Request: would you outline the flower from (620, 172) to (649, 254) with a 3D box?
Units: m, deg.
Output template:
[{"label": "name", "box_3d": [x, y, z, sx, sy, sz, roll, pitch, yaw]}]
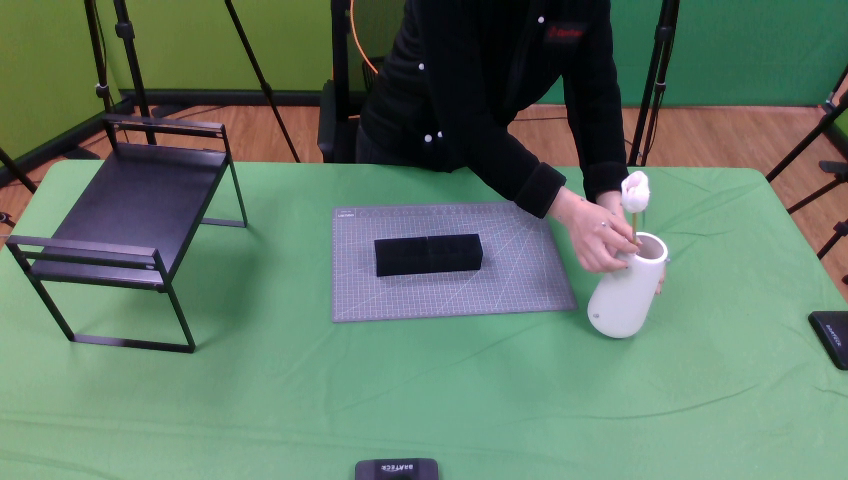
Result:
[{"label": "flower", "box_3d": [0.332, 0.028, 0.956, 0.038, 0.364, 0.044, -2, 53, 18]}]

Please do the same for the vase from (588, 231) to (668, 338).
[{"label": "vase", "box_3d": [0.344, 0.079, 1.022, 0.098, 0.201, 0.097, 1, 47, -1]}]
